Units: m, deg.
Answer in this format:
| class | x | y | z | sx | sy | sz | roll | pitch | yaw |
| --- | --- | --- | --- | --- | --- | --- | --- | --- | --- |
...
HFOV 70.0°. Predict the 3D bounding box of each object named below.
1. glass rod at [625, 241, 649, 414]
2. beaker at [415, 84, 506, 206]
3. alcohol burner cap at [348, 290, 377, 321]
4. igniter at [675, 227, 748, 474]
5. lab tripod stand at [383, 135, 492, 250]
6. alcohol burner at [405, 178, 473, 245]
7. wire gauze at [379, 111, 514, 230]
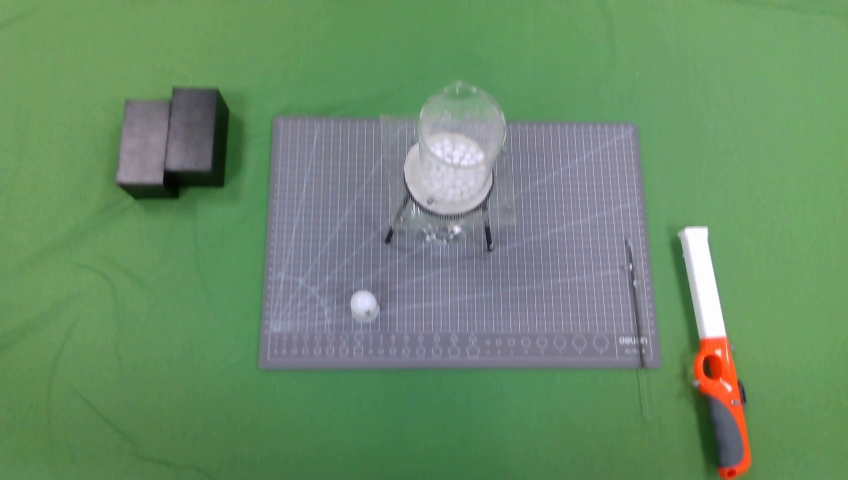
| class | x | y | z | sx | sy | sz | roll | pitch | yaw |
| --- | --- | --- | --- | --- | --- | --- | --- | --- | --- |
| glass rod | 0.243 | 0.097 | 0.696 | 0.008 | 0.008 | 0.198 | 0 | 75 | -4 |
| beaker | 0.028 | -0.081 | 0.546 | 0.074 | 0.101 | 0.083 | -3 | 73 | -4 |
| alcohol burner cap | -0.068 | 0.070 | 0.666 | 0.034 | 0.048 | 0.033 | 1 | 75 | -4 |
| igniter | 0.326 | 0.119 | 0.688 | 0.057 | 0.025 | 0.275 | 0 | 75 | -14 |
| lab tripod stand | 0.018 | -0.049 | 0.655 | 0.148 | 0.132 | 0.147 | 1 | 74 | -1 |
| alcohol burner | 0.018 | -0.037 | 0.663 | 0.078 | 0.119 | 0.077 | 1 | 73 | -2 |
| wire gauze | 0.021 | -0.069 | 0.593 | 0.125 | 0.011 | 0.120 | -4 | 73 | -3 |
